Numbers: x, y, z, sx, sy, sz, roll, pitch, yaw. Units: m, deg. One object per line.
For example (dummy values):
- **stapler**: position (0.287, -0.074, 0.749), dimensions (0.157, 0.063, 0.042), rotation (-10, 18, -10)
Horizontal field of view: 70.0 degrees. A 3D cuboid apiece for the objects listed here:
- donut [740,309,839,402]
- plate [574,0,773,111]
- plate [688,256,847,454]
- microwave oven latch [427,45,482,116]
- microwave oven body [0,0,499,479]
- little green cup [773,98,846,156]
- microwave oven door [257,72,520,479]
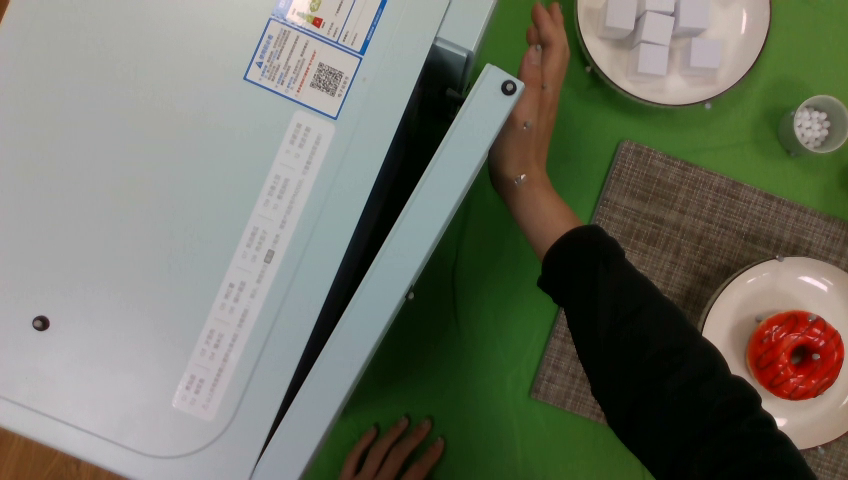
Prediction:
- **donut**: position (0.385, 0.122, 0.642), dimensions (0.099, 0.048, 0.099), rotation (0, 92, 0)
- **plate**: position (0.260, -0.239, 0.647), dimensions (0.208, 0.039, 0.207), rotation (0, 91, -2)
- **plate**: position (0.383, 0.121, 0.653), dimensions (0.209, 0.038, 0.209), rotation (0, 91, -1)
- **microwave oven latch**: position (0.031, -0.170, 0.623), dimensions (0.030, 0.029, 0.079), rotation (27, 91, -2)
- **microwave oven body**: position (-0.172, -0.064, 0.523), dimensions (0.326, 0.260, 0.441), rotation (23, 91, -2)
- **little green cup**: position (0.413, -0.119, 0.654), dimensions (0.061, 0.038, 0.061), rotation (0, 90, -1)
- **microwave oven door**: position (-0.037, 0.042, 0.523), dimensions (0.039, 0.243, 0.355), rotation (29, 90, -1)
